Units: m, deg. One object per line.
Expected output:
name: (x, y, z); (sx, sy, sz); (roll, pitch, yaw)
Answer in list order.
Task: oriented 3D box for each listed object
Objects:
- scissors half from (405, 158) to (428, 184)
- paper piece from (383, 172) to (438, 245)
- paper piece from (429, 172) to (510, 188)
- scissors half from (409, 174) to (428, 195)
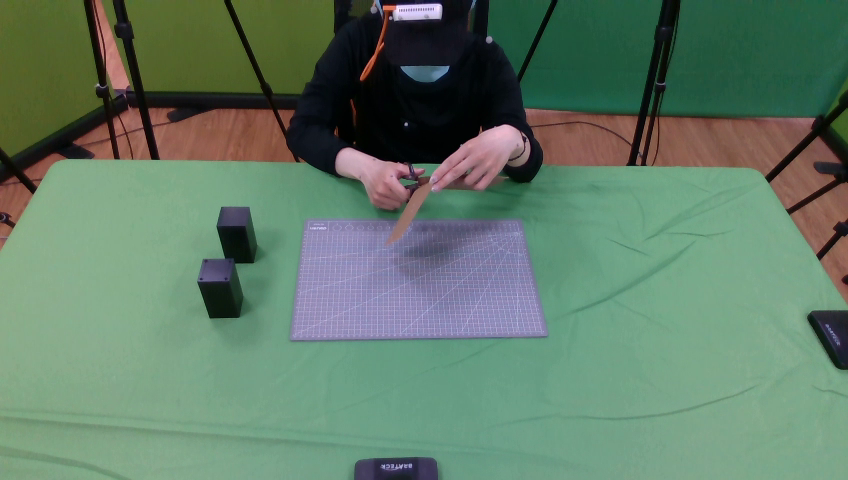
scissors half: (-0.013, -0.128, 1.169); (0.013, 0.040, 0.174); (-18, 24, -10)
paper piece: (-0.028, -0.055, 1.107); (0.004, 0.135, 0.135); (33, 76, -10)
paper piece: (0.075, -0.112, 1.145); (0.138, 0.136, 0.008); (-3, 86, -17)
scissors half: (-0.008, -0.106, 1.173); (0.013, 0.175, 0.040); (-13, 85, -10)
